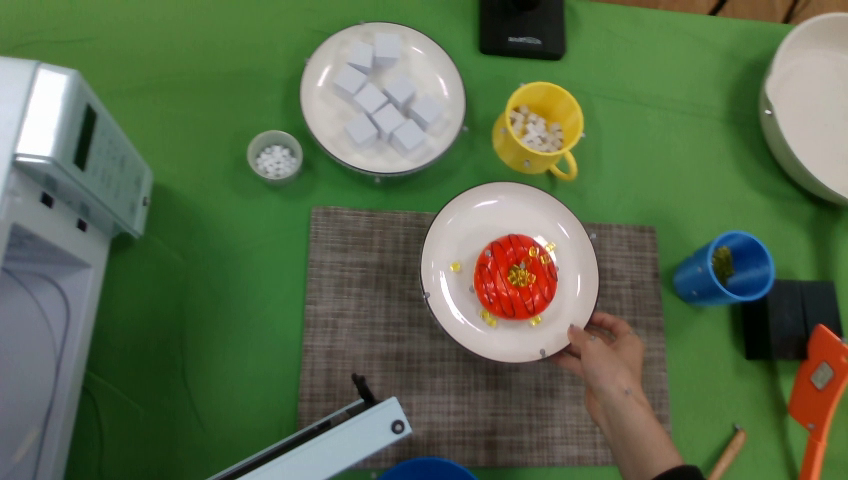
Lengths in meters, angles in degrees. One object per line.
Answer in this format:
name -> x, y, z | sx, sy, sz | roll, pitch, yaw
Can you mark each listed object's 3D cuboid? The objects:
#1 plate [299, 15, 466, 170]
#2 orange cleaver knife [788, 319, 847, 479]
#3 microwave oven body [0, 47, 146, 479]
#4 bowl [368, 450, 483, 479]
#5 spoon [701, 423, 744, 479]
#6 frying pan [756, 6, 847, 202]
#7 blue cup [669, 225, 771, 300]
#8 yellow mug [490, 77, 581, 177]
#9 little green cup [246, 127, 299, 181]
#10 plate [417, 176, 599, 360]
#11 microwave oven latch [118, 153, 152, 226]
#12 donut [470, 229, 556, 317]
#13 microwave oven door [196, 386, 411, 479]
plate -> -0.052, -0.183, 0.766 | 0.208, 0.039, 0.206 | 2, 77, -9
orange cleaver knife -> 0.477, 0.204, 0.743 | 0.012, 0.076, 0.212 | 2, 105, -9
microwave oven body -> -0.467, 0.077, 0.517 | 0.327, 0.260, 0.439 | 6, 77, -9
bowl -> -0.004, 0.297, 0.642 | 0.152, 0.077, 0.150 | 2, 77, -9
spoon -> 0.335, 0.294, 0.729 | 0.193, 0.022, 0.041 | -42, 76, -16
frying pan -> 0.591, -0.088, 0.818 | 0.307, 0.103, 0.484 | 8, 68, -7
blue cup -> 0.358, 0.036, 0.752 | 0.093, 0.100, 0.092 | 3, 75, -10
yellow mug -> 0.150, -0.136, 0.775 | 0.100, 0.064, 0.130 | -34, 86, -15
little green cup -> -0.179, -0.100, 0.724 | 0.062, 0.039, 0.061 | 2, 78, -9
plate -> 0.093, 0.031, 0.684 | 0.210, 0.038, 0.208 | 2, 77, -10
microwave oven latch -> -0.324, -0.057, 0.672 | 0.030, 0.029, 0.079 | 9, 77, -8
donut -> 0.099, 0.037, 0.672 | 0.099, 0.048, 0.098 | 2, 79, -10
microwave oven door -> -0.187, 0.226, 0.524 | 0.356, 0.244, 0.039 | -26, 82, -14
